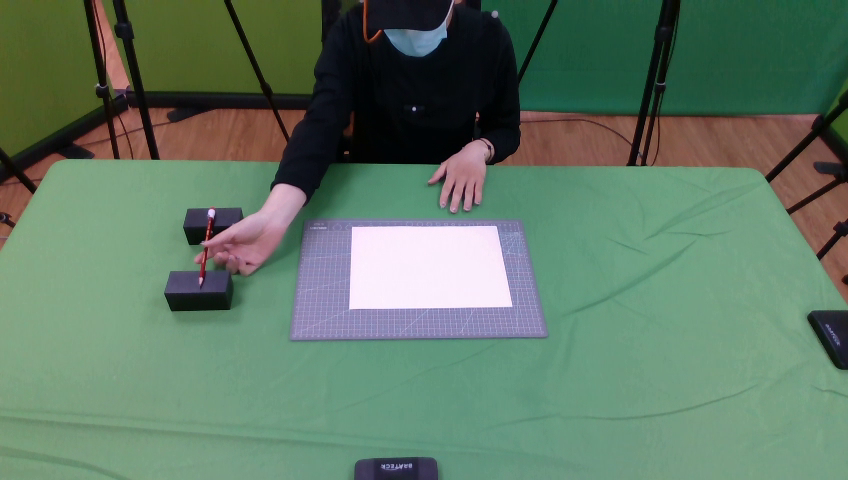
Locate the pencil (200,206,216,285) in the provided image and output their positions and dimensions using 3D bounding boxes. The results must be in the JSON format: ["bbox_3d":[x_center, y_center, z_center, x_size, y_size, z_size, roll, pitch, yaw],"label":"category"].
[{"bbox_3d":[-0.393,0.007,1.098,0.012,0.012,0.192,-3,48,-7],"label":"pencil"}]
